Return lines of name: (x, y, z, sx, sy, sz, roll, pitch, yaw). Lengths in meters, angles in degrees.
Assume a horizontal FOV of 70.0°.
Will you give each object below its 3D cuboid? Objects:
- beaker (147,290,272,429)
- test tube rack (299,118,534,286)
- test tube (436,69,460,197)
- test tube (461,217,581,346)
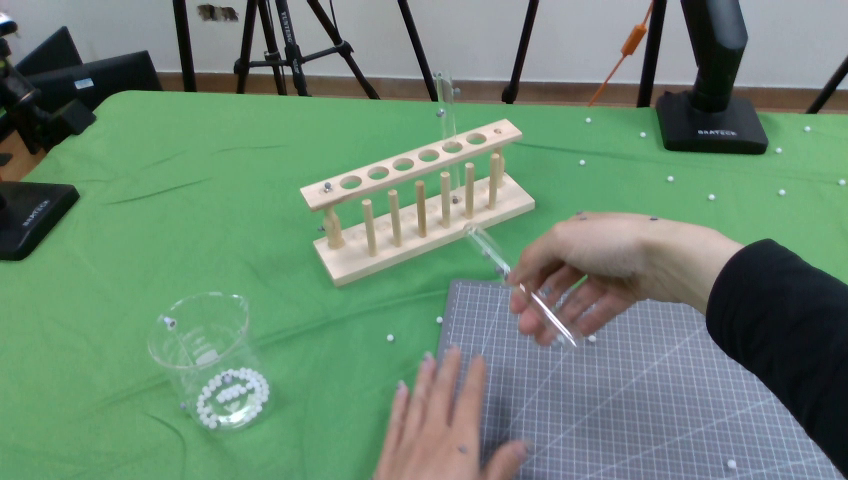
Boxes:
beaker: (-0.167, 0.099, 0.495, 0.073, 0.101, 0.084, 25, 50, 27)
test tube rack: (0.000, -0.045, 0.644, 0.243, 0.086, 0.066, -21, 46, -17)
test tube: (0.026, -0.107, 0.635, 0.017, 0.151, 0.017, -4, 41, 4)
test tube: (0.069, 0.026, 0.462, 0.017, 0.017, 0.148, -21, 44, -17)
